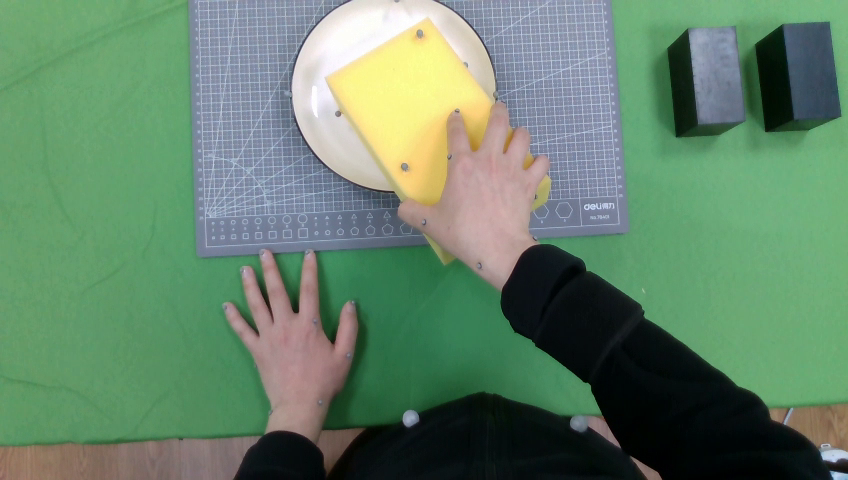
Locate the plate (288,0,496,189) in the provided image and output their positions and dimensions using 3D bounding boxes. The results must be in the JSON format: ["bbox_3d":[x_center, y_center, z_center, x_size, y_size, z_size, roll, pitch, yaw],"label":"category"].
[{"bbox_3d":[-0.031,-0.152,0.623,0.209,0.038,0.208,0,86,-3],"label":"plate"}]

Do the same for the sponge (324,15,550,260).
[{"bbox_3d":[0.010,-0.099,0.579,0.118,0.061,0.205,-33,74,-5],"label":"sponge"}]
